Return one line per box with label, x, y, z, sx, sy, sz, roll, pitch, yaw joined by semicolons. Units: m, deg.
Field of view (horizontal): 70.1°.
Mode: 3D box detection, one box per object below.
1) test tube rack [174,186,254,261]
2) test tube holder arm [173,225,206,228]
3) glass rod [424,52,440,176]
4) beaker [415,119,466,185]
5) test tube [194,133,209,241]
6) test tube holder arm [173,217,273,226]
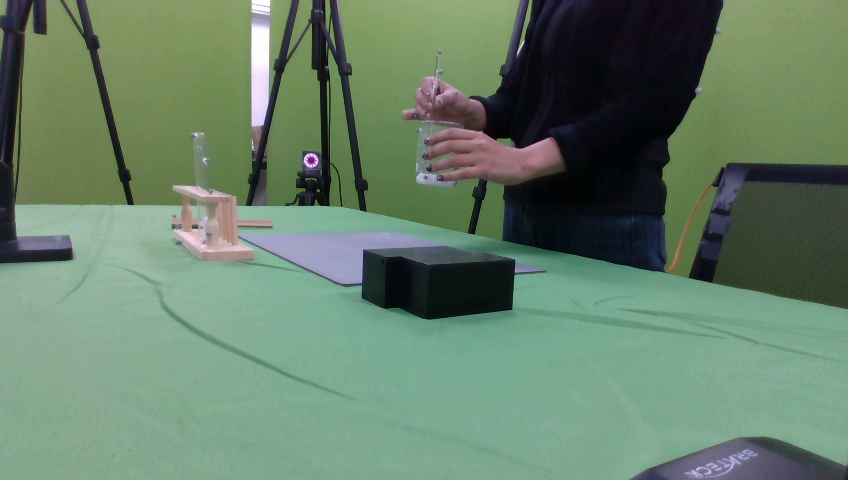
test tube rack;-0.314;-0.031;0.889;0.067;0.085;0.241;-2;8;-30
test tube holder arm;-0.415;-0.030;1.113;0.088;0.015;0.010;-1;-21;-25
glass rod;0.014;-0.199;0.958;0.008;0.199;0.008;6;-1;0
beaker;0.024;-0.140;0.976;0.074;0.100;0.084;4;4;-13
test tube;-0.307;-0.074;0.842;0.017;0.150;0.017;-3;2;0
test tube holder arm;-0.371;-0.033;1.128;0.179;0.015;0.013;-1;-22;-25
